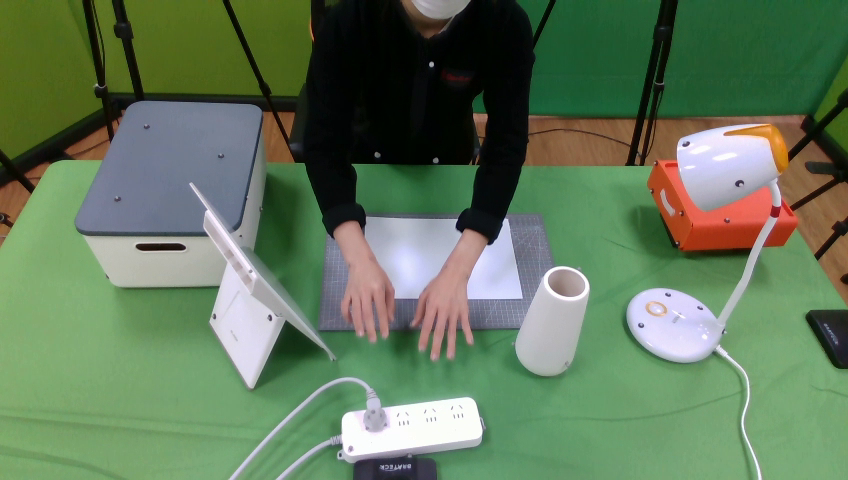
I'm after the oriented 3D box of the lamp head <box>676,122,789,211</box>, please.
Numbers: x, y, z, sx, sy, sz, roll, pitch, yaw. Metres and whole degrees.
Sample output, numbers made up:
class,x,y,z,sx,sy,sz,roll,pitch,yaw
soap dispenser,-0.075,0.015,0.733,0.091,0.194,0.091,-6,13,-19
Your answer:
class,x,y,z,sx,sy,sz,roll,pitch,yaw
lamp head,0.423,-0.104,0.819,0.122,0.113,0.112,-13,33,40

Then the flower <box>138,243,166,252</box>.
class,x,y,z,sx,sy,sz,roll,pitch,yaw
flower,-0.443,-0.044,1.194,0.044,0.038,0.361,45,47,-7

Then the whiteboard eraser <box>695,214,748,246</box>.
class,x,y,z,sx,sy,sz,roll,pitch,yaw
whiteboard eraser,0.592,-0.019,1.209,0.113,0.042,0.055,12,27,-36

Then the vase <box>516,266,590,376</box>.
class,x,y,z,sx,sy,sz,roll,pitch,yaw
vase,0.208,0.132,0.964,0.098,0.201,0.097,3,46,-3

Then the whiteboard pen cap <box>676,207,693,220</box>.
class,x,y,z,sx,sy,sz,roll,pitch,yaw
whiteboard pen cap,0.524,-0.053,1.216,0.033,0.018,0.018,-28,54,-23

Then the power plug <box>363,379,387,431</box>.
class,x,y,z,sx,sy,sz,roll,pitch,yaw
power plug,-0.072,0.252,0.910,0.035,0.053,0.072,3,44,-2

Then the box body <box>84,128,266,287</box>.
class,x,y,z,sx,sy,sz,roll,pitch,yaw
box body,-0.447,-0.088,1.150,0.254,0.161,0.361,-1,46,-5

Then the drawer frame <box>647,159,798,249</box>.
class,x,y,z,sx,sy,sz,roll,pitch,yaw
drawer frame,0.588,-0.077,1.219,0.214,0.083,0.200,-2,45,-5

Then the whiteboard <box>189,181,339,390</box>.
class,x,y,z,sx,sy,sz,roll,pitch,yaw
whiteboard,-0.292,0.096,0.929,0.144,0.307,0.216,-37,57,-10

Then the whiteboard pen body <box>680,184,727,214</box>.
class,x,y,z,sx,sy,sz,roll,pitch,yaw
whiteboard pen body,0.571,-0.081,1.238,0.141,0.017,0.017,-27,54,-22

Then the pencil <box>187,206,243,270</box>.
class,x,y,z,sx,sy,sz,roll,pitch,yaw
pencil,-0.401,-0.008,1.176,0.012,0.012,0.193,15,44,10

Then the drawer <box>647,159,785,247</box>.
class,x,y,z,sx,sy,sz,roll,pitch,yaw
drawer,0.582,-0.079,1.214,0.212,0.073,0.193,-1,46,-5

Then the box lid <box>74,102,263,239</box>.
class,x,y,z,sx,sy,sz,roll,pitch,yaw
box lid,-0.443,-0.138,1.094,0.263,0.015,0.369,0,46,-5

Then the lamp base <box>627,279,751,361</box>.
class,x,y,z,sx,sy,sz,roll,pitch,yaw
lamp base,0.459,0.100,1.027,0.178,0.181,0.160,27,51,17

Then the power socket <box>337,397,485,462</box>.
class,x,y,z,sx,sy,sz,roll,pitch,yaw
power socket,-0.018,0.285,0.915,0.227,0.033,0.071,-5,46,-8
